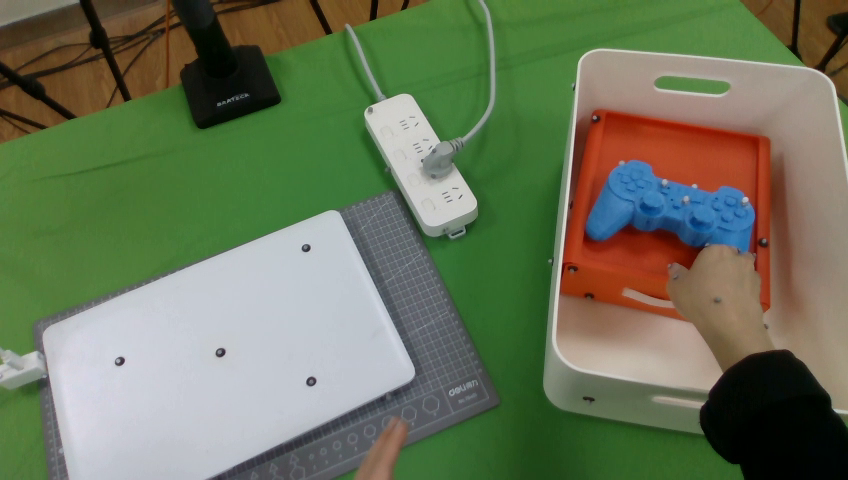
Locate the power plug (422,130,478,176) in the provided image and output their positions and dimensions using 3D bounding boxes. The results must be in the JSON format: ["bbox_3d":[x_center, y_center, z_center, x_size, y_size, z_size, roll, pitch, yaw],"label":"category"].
[{"bbox_3d":[0.034,-0.098,0.733,0.072,0.053,0.035,-13,60,-5],"label":"power plug"}]

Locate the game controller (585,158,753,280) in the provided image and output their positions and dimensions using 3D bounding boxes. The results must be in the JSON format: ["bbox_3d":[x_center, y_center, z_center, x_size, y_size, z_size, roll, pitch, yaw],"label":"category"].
[{"bbox_3d":[0.252,-0.029,0.613,0.154,0.052,0.096,20,59,14],"label":"game controller"}]

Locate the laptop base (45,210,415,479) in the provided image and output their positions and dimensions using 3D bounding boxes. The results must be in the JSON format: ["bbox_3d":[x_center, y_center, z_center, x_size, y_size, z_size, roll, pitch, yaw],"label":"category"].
[{"bbox_3d":[-0.213,0.123,0.658,0.354,0.023,0.233,-24,66,-10],"label":"laptop base"}]

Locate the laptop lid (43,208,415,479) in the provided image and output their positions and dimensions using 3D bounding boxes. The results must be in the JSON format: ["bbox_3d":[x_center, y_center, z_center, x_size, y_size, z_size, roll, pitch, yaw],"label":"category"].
[{"bbox_3d":[-0.213,0.120,0.646,0.357,0.013,0.239,-22,64,-9],"label":"laptop lid"}]

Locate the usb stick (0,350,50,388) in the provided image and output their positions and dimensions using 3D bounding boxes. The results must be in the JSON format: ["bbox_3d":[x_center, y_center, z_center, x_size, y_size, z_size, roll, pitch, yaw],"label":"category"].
[{"bbox_3d":[-0.421,0.136,0.649,0.059,0.027,0.021,-20,56,-11],"label":"usb stick"}]

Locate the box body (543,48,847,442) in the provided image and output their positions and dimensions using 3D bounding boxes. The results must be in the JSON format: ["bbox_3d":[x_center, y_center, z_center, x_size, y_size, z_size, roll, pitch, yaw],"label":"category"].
[{"bbox_3d":[0.262,0.000,0.616,0.254,0.162,0.361,8,62,8],"label":"box body"}]

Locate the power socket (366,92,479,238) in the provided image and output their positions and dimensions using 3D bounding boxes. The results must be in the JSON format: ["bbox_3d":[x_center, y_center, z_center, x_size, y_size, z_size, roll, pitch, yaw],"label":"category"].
[{"bbox_3d":[-0.006,-0.100,0.762,0.072,0.033,0.224,-23,61,-10],"label":"power socket"}]
